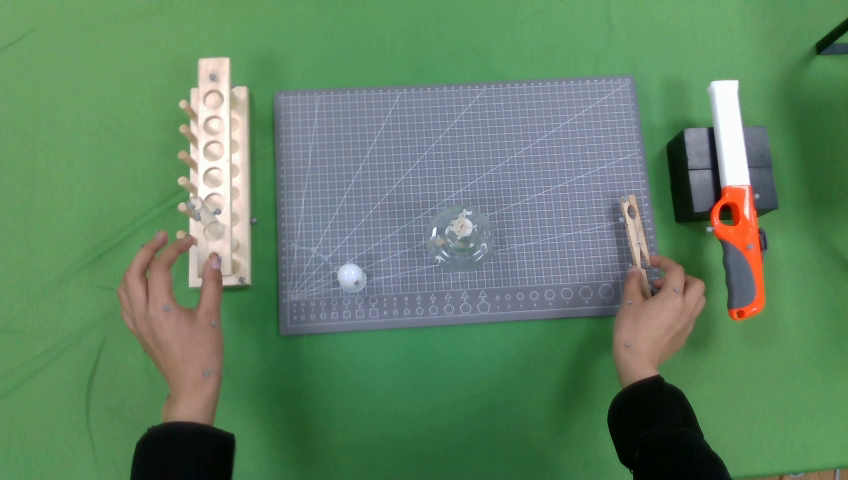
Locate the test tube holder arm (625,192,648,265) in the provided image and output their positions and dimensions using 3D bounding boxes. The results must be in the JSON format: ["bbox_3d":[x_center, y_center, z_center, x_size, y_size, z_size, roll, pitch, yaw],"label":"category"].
[{"bbox_3d":[0.249,-0.014,0.714,0.010,0.015,0.087,-8,75,3],"label":"test tube holder arm"}]

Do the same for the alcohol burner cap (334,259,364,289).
[{"bbox_3d":[-0.086,0.037,0.686,0.034,0.048,0.033,0,79,-2],"label":"alcohol burner cap"}]

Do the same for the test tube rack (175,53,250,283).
[{"bbox_3d":[-0.241,-0.078,0.681,0.067,0.085,0.241,-3,80,-2],"label":"test tube rack"}]

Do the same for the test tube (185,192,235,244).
[{"bbox_3d":[-0.216,-0.019,0.621,0.017,0.150,0.017,1,76,-5],"label":"test tube"}]

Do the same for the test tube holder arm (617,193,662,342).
[{"bbox_3d":[0.249,0.030,0.702,0.013,0.015,0.177,-8,75,3],"label":"test tube holder arm"}]

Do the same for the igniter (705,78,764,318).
[{"bbox_3d":[0.347,-0.051,0.683,0.057,0.025,0.275,-1,79,4],"label":"igniter"}]

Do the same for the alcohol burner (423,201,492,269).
[{"bbox_3d":[0.038,-0.009,0.663,0.078,0.119,0.077,0,81,-1],"label":"alcohol burner"}]
